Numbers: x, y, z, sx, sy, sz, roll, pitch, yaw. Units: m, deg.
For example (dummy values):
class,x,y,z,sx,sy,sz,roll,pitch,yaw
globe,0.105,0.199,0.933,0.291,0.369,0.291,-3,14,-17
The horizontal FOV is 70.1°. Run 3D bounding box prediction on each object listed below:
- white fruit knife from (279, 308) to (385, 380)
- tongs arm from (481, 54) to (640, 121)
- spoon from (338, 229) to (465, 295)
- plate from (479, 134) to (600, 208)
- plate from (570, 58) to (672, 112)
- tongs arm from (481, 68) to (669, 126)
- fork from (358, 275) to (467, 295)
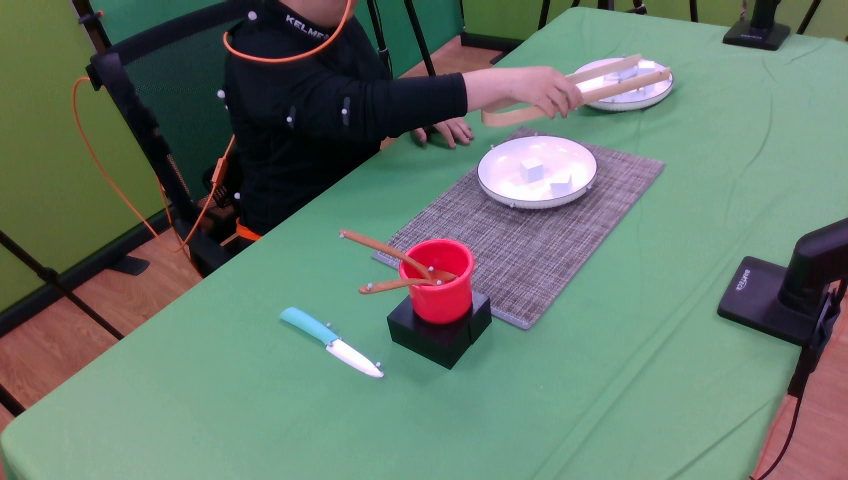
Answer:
class,x,y,z,sx,sy,sz,roll,pitch,yaw
white fruit knife,-0.130,0.143,0.845,0.205,0.016,0.027,25,79,32
tongs arm,0.272,-0.302,1.179,0.389,0.028,0.028,-21,46,-18
spoon,-0.025,0.026,0.776,0.021,0.195,0.041,-41,34,31
plate,0.202,-0.117,1.065,0.207,0.039,0.206,-5,40,5
plate,0.411,-0.323,1.274,0.209,0.038,0.208,-5,41,5
tongs arm,0.291,-0.275,1.142,0.386,0.026,0.050,-19,42,-15
fork,-0.009,0.056,0.739,0.028,0.018,0.209,48,23,26
